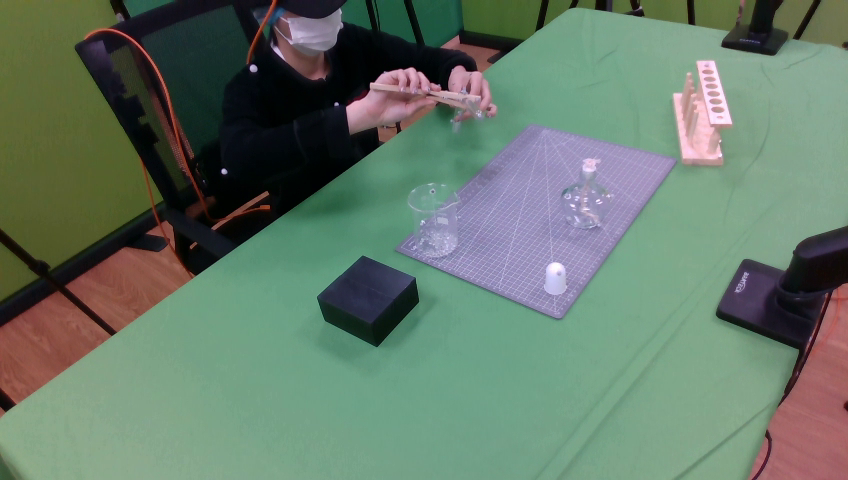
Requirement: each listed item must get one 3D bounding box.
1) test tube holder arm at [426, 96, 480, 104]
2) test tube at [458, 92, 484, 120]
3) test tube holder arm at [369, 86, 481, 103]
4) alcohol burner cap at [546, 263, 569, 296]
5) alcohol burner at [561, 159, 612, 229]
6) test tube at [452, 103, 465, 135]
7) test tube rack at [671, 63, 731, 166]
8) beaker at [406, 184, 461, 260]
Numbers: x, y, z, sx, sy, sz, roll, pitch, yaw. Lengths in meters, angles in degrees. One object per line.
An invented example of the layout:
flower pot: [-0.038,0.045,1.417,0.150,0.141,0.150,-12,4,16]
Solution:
test tube holder arm: [0.047,-0.226,0.975,0.088,0.010,0.015,-1,25,1]
test tube: [0.072,-0.213,0.957,0.017,0.017,0.149,-11,25,-3]
test tube holder arm: [0.002,-0.235,0.972,0.179,0.013,0.015,6,26,-2]
alcohol burner cap: [0.191,0.053,0.862,0.034,0.048,0.033,-5,40,4]
alcohol burner: [0.257,-0.077,0.951,0.078,0.119,0.077,-3,40,3]
test tube: [0.062,-0.224,1.095,0.017,0.150,0.017,0,77,-1]
test tube rack: [0.513,-0.241,1.132,0.066,0.085,0.242,4,41,14]
beaker: [0.019,-0.026,0.939,0.084,0.101,0.074,1,41,9]
